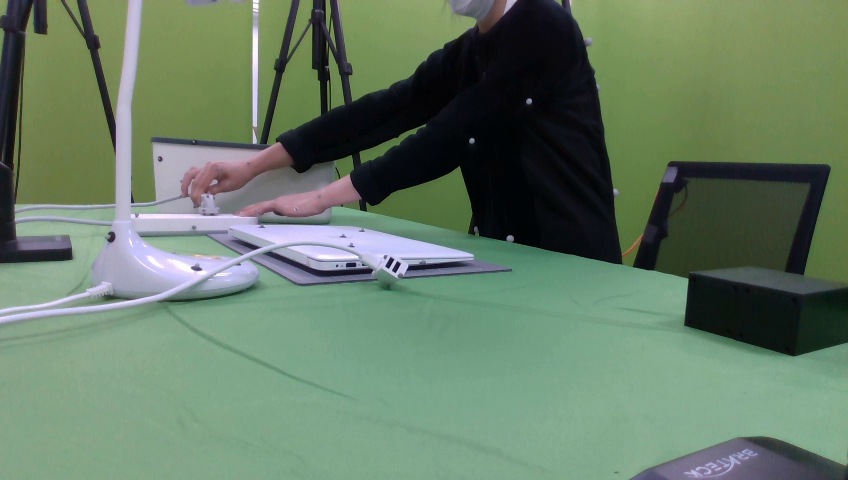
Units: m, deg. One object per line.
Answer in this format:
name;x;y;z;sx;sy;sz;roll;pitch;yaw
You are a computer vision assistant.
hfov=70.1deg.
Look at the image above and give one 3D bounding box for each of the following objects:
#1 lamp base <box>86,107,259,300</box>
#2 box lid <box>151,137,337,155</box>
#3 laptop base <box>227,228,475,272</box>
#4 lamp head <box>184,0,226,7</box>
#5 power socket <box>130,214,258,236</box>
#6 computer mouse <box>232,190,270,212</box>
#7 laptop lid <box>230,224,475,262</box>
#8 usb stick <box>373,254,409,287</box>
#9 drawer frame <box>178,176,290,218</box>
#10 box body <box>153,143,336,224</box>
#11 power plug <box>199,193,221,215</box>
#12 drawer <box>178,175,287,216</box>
lamp base;-0.254;-0.039;0.603;0.160;0.180;0.179;4;10;18
box lid;-0.379;-0.203;1.334;0.372;0.015;0.262;2;7;-9
laptop base;-0.122;0.012;0.889;0.237;0.023;0.352;1;7;-35
lamp head;-0.229;-0.320;0.627;0.112;0.112;0.123;6;-36;26
power socket;-0.397;-0.028;1.047;0.228;0.032;0.072;-3;7;-34
computer mouse;-0.382;-0.086;1.342;0.063;0.041;0.117;10;10;-4
laptop lid;-0.119;0.000;0.888;0.243;0.013;0.355;1;7;-33
usb stick;-0.038;0.035;0.663;0.027;0.021;0.059;28;-22;-7
drawer frame;-0.409;-0.099;1.340;0.214;0.082;0.201;-4;7;-10
box body;-0.380;-0.130;1.344;0.365;0.160;0.253;1;7;-9
power plug;-0.385;-0.057;1.088;0.035;0.052;0.072;-1;10;-22
drawer;-0.414;-0.103;1.341;0.212;0.073;0.194;5;6;-11
